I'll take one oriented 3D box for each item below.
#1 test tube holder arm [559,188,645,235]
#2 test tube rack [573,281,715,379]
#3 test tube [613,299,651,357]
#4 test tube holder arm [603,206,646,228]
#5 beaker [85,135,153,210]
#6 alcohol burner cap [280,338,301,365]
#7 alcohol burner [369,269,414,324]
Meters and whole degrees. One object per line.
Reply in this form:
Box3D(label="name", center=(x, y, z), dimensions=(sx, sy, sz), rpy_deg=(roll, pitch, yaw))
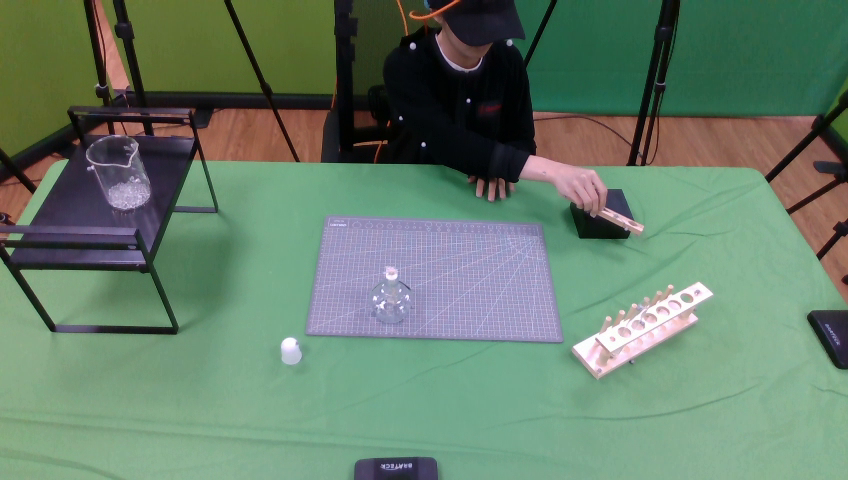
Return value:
Box3D(label="test tube holder arm", center=(0.350, -0.058, 1.198), dimensions=(0.178, 0.015, 0.013), rpy_deg=(28, 49, 14))
Box3D(label="test tube rack", center=(0.378, 0.140, 1.038), dimensions=(0.242, 0.085, 0.066), rpy_deg=(-22, 51, -23))
Box3D(label="test tube", center=(0.328, 0.143, 0.962), dimensions=(0.017, 0.151, 0.017), rpy_deg=(3, 48, -3))
Box3D(label="test tube holder arm", center=(0.392, -0.041, 1.191), dimensions=(0.087, 0.015, 0.010), rpy_deg=(28, 49, 14))
Box3D(label="beaker", center=(-0.475, -0.102, 0.957), dimensions=(0.083, 0.101, 0.074), rpy_deg=(34, 53, 26))
Box3D(label="alcohol burner cap", center=(-0.220, 0.179, 0.993), dimensions=(0.034, 0.048, 0.033), rpy_deg=(2, 46, -2))
Box3D(label="alcohol burner", center=(-0.056, 0.089, 1.037), dimensions=(0.078, 0.120, 0.077), rpy_deg=(1, 47, -1))
